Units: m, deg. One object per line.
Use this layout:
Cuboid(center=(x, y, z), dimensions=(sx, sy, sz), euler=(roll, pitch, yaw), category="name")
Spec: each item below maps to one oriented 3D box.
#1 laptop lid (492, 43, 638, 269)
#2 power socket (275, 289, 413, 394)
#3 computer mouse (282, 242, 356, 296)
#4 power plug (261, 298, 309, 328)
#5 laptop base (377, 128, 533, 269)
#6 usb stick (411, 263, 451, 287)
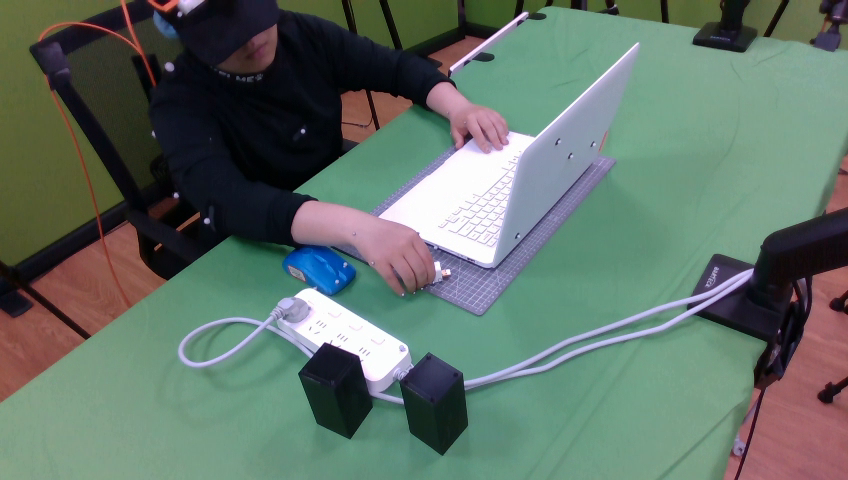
Cuboid(center=(0.216, -0.129, 0.912), dimensions=(0.013, 0.242, 0.358), euler=(32, 51, 21), category="laptop lid")
Cuboid(center=(-0.115, 0.133, 0.820), dimensions=(0.225, 0.033, 0.072), euler=(26, 49, 32), category="power socket")
Cuboid(center=(-0.164, 0.041, 0.934), dimensions=(0.116, 0.041, 0.063), euler=(27, 48, 29), category="computer mouse")
Cuboid(center=(-0.192, 0.107, 0.831), dimensions=(0.073, 0.053, 0.035), euler=(-32, 43, -25), category="power plug")
Cuboid(center=(0.115, -0.088, 1.059), dimensions=(0.233, 0.023, 0.355), euler=(20, 47, 33), category="laptop base")
Cuboid(center=(0.011, 0.051, 0.901), dimensions=(0.059, 0.027, 0.021), euler=(-9, 46, -5), category="usb stick")
